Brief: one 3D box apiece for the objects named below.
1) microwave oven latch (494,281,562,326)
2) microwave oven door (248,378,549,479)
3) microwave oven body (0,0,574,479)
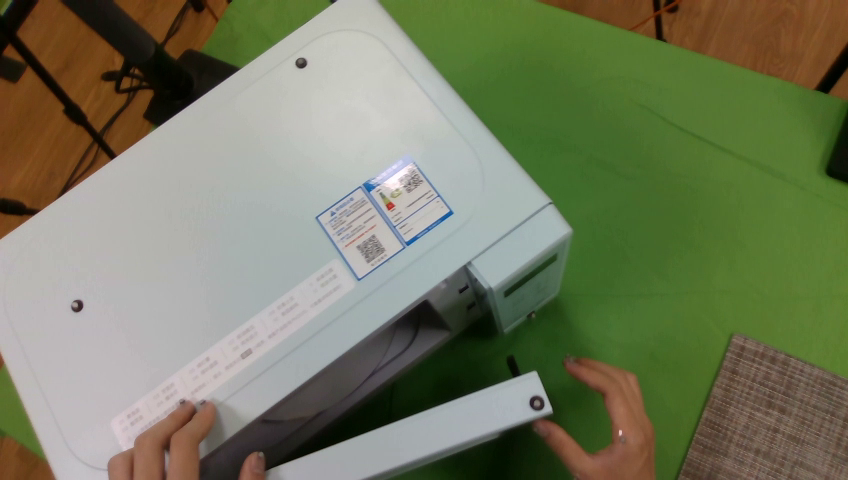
[{"bbox_3d":[0.114,0.061,0.664,0.079,0.030,0.030,-34,72,-1],"label":"microwave oven latch"},{"bbox_3d":[-0.062,0.198,0.544,0.356,0.245,0.039,-21,71,2],"label":"microwave oven door"},{"bbox_3d":[-0.130,0.027,0.611,0.441,0.262,0.323,-36,72,-2],"label":"microwave oven body"}]
